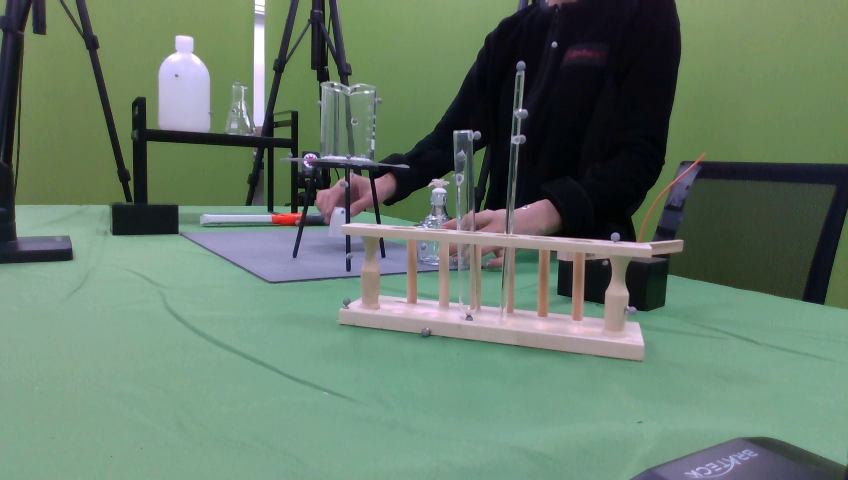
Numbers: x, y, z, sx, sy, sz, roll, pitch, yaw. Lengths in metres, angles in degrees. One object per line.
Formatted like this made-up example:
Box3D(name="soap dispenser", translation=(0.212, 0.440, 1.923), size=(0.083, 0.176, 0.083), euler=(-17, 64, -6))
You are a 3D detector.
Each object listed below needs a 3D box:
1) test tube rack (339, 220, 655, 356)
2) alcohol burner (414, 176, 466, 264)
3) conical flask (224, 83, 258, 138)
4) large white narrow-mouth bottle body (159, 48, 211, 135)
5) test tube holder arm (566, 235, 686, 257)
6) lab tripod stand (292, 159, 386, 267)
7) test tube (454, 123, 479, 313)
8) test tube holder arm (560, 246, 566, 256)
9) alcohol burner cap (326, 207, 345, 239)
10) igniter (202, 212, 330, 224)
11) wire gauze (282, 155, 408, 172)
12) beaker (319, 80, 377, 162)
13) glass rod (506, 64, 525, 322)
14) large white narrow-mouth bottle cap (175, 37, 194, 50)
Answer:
Box3D(name="test tube rack", translation=(0.056, 0.032, 0.495), size=(0.242, 0.085, 0.067), euler=(4, 7, 15))
Box3D(name="alcohol burner", translation=(0.021, -0.028, 0.826), size=(0.078, 0.119, 0.078), euler=(0, 7, 0))
Box3D(name="conical flask", translation=(-0.422, -0.299, 1.395), size=(0.075, 0.122, 0.075), euler=(2, 7, 0))
Box3D(name="large white narrow-mouth bottle body", translation=(-0.503, -0.323, 1.275), size=(0.102, 0.194, 0.102), euler=(2, 7, 0))
Box3D(name="test tube holder arm", translation=(0.215, 0.006, 0.630), size=(0.179, 0.015, 0.013), euler=(-3, 9, -31))
Box3D(name="lab tripod stand", translation=(-0.104, -0.039, 0.797), size=(0.148, 0.131, 0.148), euler=(2, 5, 0))
Box3D(name="test tube", translation=(0.034, -0.016, 0.477), size=(0.017, 0.150, 0.017), euler=(-2, 9, 1))
Box3D(name="test tube holder arm", translation=(0.173, 0.007, 0.612), size=(0.088, 0.015, 0.010), euler=(-3, 9, -30))
Box3D(name="alcohol burner cap", translation=(-0.131, -0.026, 0.923), size=(0.034, 0.048, 0.034), euler=(7, 1, 0))
Box3D(name="igniter", translation=(-0.298, -0.044, 1.216), size=(0.278, 0.025, 0.057), euler=(-2, -2, -32))
Box3D(name="wire gauze", translation=(-0.104, -0.103, 0.785), size=(0.126, 0.011, 0.121), euler=(1, 8, -39))
Box3D(name="beaker", translation=(-0.098, -0.150, 0.777), size=(0.074, 0.100, 0.084), euler=(1, 7, -7))
Box3D(name="glass rod", translation=(0.069, -0.030, 0.458), size=(0.008, 0.199, 0.008), euler=(0, 15, 0))
Box3D(name="large white narrow-mouth bottle cap", translation=(-0.501, -0.409, 1.264), size=(0.038, 0.024, 0.037), euler=(2, 7, 0))
